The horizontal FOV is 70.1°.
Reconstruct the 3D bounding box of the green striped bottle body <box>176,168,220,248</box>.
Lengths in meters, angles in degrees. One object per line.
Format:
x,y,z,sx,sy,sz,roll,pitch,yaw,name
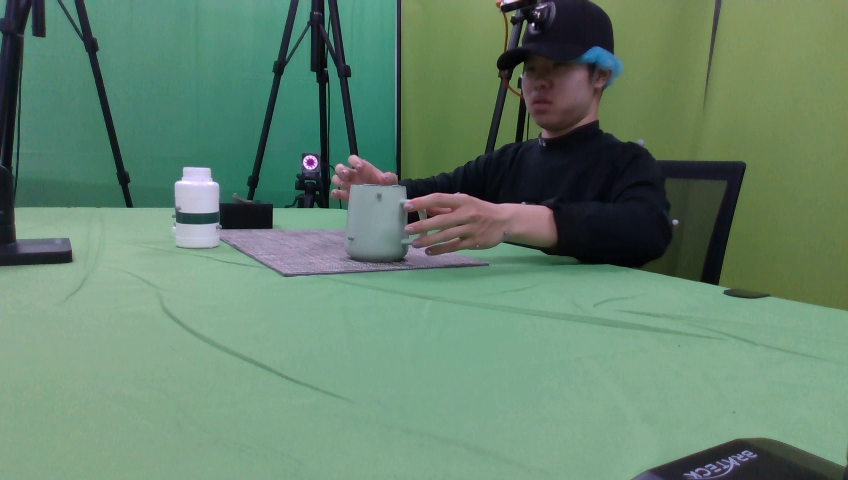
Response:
-0.345,-0.050,0.924,0.063,0.119,0.063,2,7,0,green striped bottle body

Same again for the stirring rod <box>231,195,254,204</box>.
-0.372,-0.084,1.235,0.014,0.006,0.175,1,7,-28,stirring rod

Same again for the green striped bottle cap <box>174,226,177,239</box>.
-0.404,-0.015,1.036,0.044,0.020,0.044,-1,9,1,green striped bottle cap

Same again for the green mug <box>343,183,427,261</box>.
-0.053,-0.026,0.847,0.125,0.105,0.093,6,8,27,green mug
